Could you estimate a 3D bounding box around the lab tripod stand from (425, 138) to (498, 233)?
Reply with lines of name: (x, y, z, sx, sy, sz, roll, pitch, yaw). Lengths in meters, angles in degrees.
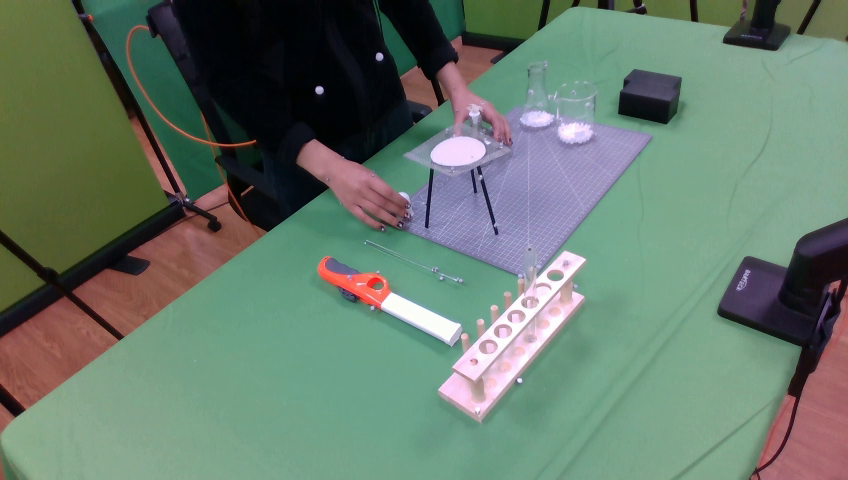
lab tripod stand: (0.063, -0.091, 0.988, 0.148, 0.132, 0.147, -6, 38, 6)

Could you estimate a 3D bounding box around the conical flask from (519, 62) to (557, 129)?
conical flask: (0.225, -0.288, 1.198, 0.075, 0.122, 0.075, -6, 40, 5)

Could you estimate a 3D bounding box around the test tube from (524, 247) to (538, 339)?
test tube: (0.133, 0.070, 0.749, 0.017, 0.151, 0.017, -5, 38, 4)

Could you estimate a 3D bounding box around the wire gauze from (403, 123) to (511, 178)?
wire gauze: (0.051, -0.140, 0.943, 0.125, 0.011, 0.120, -31, 43, -25)

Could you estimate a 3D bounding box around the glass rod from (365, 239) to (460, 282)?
glass rod: (-0.022, 0.032, 0.961, 0.198, 0.008, 0.008, 21, 49, 34)

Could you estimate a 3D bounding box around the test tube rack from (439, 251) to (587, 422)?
test tube rack: (0.118, 0.111, 0.780, 0.066, 0.085, 0.243, 26, 51, 35)

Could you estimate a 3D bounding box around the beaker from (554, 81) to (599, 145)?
beaker: (0.286, -0.237, 1.144, 0.084, 0.101, 0.073, -17, 40, -7)

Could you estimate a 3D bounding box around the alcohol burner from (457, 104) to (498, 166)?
alcohol burner: (0.099, -0.198, 1.124, 0.078, 0.119, 0.077, -5, 39, 4)

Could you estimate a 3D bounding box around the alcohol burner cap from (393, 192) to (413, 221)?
alcohol burner cap: (-0.037, -0.059, 1.042, 0.034, 0.048, 0.033, -5, 40, 5)

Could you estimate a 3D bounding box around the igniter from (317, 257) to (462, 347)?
igniter: (-0.061, 0.086, 0.891, 0.274, 0.025, 0.057, 23, 59, 33)
